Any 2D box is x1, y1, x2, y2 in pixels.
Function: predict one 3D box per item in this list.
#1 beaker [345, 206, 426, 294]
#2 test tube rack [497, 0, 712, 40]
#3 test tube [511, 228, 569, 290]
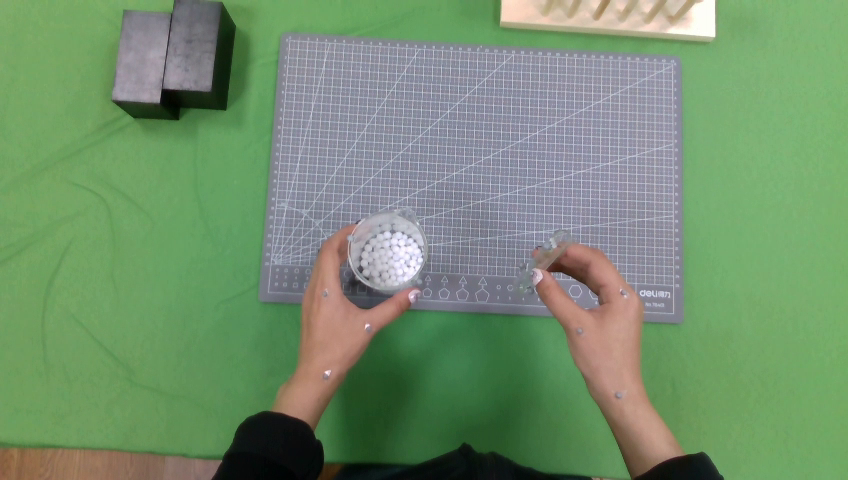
[{"bbox_3d":[-0.034,0.013,0.599,0.074,0.100,0.084,26,81,2],"label":"beaker"},{"bbox_3d":[0.206,-0.275,0.655,0.242,0.085,0.066,3,82,-1],"label":"test tube rack"},{"bbox_3d":[0.098,0.020,0.532,0.017,0.151,0.017,1,71,-4],"label":"test tube"}]
